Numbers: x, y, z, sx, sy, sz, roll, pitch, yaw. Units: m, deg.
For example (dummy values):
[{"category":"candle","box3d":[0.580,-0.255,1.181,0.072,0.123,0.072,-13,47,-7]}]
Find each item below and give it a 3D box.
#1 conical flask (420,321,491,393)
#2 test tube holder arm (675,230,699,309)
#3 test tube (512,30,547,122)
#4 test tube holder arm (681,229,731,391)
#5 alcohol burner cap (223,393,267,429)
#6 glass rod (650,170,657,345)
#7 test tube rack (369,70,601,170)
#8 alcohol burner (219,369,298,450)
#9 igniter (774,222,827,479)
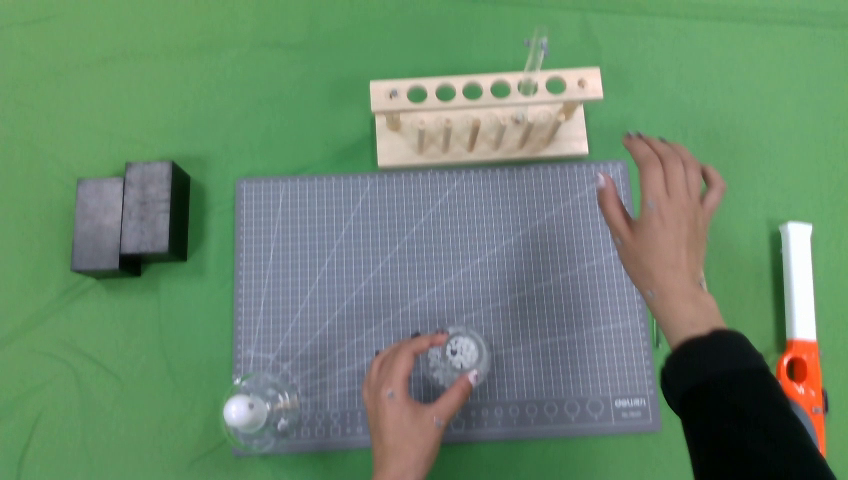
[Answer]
[{"category":"conical flask","box3d":[0.033,0.112,0.595,0.075,0.122,0.075,0,77,0]},{"category":"test tube holder arm","box3d":[0.295,0.033,0.672,0.010,0.015,0.087,-17,77,33]},{"category":"test tube","box3d":[0.107,-0.164,0.627,0.017,0.151,0.017,0,72,1]},{"category":"test tube holder arm","box3d":[0.307,0.075,0.660,0.013,0.015,0.177,-18,76,32]},{"category":"alcohol burner cap","box3d":[-0.165,0.154,0.551,0.034,0.048,0.033,0,69,0]},{"category":"glass rod","box3d":[0.257,0.018,0.678,0.008,0.008,0.199,4,80,0]},{"category":"test tube rack","box3d":[0.064,-0.130,0.670,0.242,0.085,0.066,-4,77,-1]},{"category":"alcohol burner","box3d":[-0.164,0.164,0.586,0.078,0.119,0.077,0,76,2]},{"category":"igniter","box3d":[0.401,0.116,0.649,0.057,0.025,0.275,7,78,-9]}]
